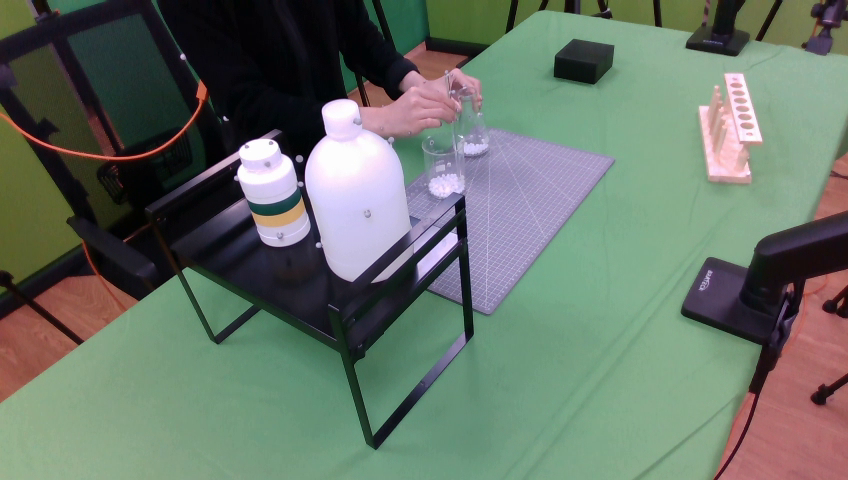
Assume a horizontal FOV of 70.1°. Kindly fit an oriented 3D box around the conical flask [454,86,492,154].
[{"bbox_3d":[0.088,-0.228,1.139,0.075,0.122,0.075,-6,44,6],"label":"conical flask"}]

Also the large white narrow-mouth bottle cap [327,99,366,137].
[{"bbox_3d":[-0.075,-0.118,0.582,0.038,0.024,0.037,-3,40,3],"label":"large white narrow-mouth bottle cap"}]

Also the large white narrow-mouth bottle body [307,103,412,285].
[{"bbox_3d":[-0.070,-0.051,0.638,0.102,0.195,0.101,-3,40,3],"label":"large white narrow-mouth bottle body"}]

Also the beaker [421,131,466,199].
[{"bbox_3d":[0.040,-0.130,1.060,0.084,0.100,0.073,-24,44,-20],"label":"beaker"}]

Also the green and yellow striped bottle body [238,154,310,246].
[{"bbox_3d":[-0.178,-0.056,0.714,0.063,0.120,0.063,-4,40,4],"label":"green and yellow striped bottle body"}]

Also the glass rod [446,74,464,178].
[{"bbox_3d":[0.053,-0.187,1.021,0.008,0.201,0.008,-7,40,6],"label":"glass rod"}]

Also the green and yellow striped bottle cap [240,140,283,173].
[{"bbox_3d":[-0.183,-0.094,0.679,0.045,0.020,0.045,-4,38,4],"label":"green and yellow striped bottle cap"}]

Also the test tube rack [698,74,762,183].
[{"bbox_3d":[0.547,-0.208,1.095,0.066,0.085,0.242,5,42,15],"label":"test tube rack"}]
